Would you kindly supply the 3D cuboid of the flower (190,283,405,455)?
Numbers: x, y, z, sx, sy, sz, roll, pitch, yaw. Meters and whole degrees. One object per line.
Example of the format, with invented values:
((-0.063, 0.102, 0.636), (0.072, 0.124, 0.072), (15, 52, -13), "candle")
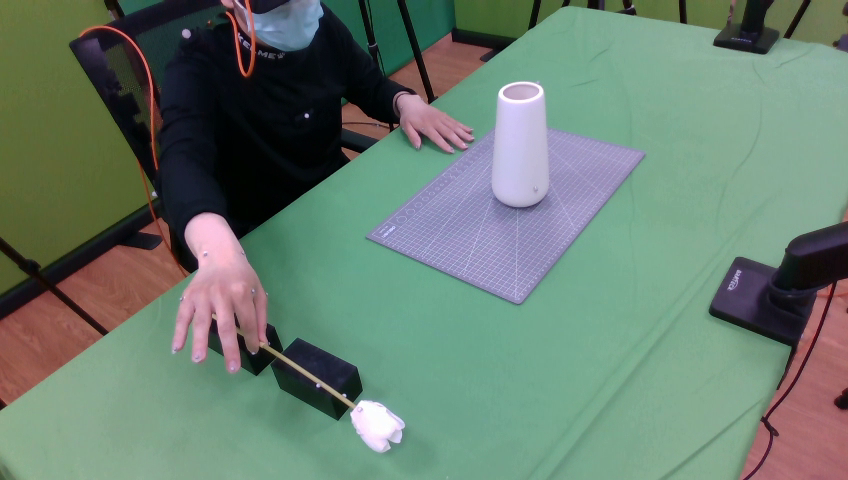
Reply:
((-0.171, 0.141, 0.738), (0.359, 0.038, 0.044), (30, 62, 25), "flower")

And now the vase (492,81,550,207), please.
((0.159, -0.151, 0.982), (0.098, 0.201, 0.097), (-3, 41, 3), "vase")
